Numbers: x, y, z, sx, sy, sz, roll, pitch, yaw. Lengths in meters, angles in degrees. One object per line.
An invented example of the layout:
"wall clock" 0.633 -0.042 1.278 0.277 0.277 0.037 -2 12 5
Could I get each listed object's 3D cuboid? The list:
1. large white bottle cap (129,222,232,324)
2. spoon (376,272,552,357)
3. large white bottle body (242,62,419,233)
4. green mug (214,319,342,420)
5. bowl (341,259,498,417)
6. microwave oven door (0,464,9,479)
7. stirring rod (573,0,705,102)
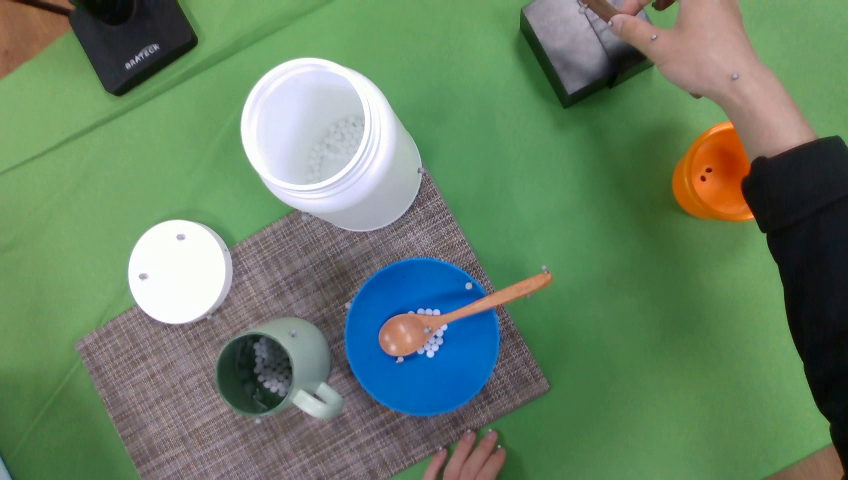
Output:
"large white bottle cap" -0.272 0.037 0.674 0.114 0.018 0.114 0 87 7
"spoon" 0.034 0.071 0.577 0.193 0.022 0.041 -25 87 29
"large white bottle body" -0.082 -0.081 0.571 0.130 0.185 0.130 -1 84 9
"green mug" -0.138 0.137 0.611 0.125 0.105 0.092 34 91 7
"bowl" 0.000 0.094 0.609 0.151 0.077 0.151 0 88 7
"microwave oven door" -0.437 0.368 0.556 0.039 0.244 0.355 -32 84 5
"stirring rod" 0.171 -0.177 0.518 0.176 0.014 0.006 38 56 -5
